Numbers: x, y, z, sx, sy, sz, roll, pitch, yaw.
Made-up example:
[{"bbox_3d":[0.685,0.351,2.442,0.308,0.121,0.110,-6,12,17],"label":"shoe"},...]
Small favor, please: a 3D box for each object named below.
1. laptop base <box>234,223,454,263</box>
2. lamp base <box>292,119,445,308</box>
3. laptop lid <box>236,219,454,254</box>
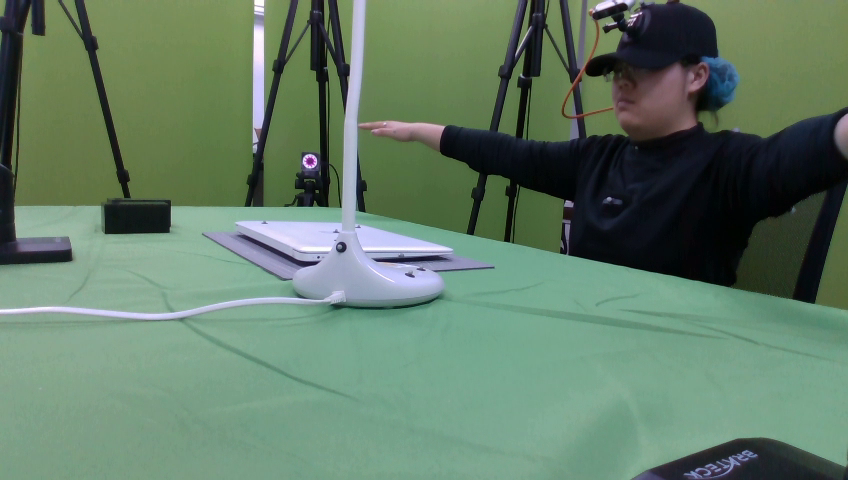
[{"bbox_3d":[-0.143,0.004,0.957,0.237,0.023,0.352,2,7,-32],"label":"laptop base"},{"bbox_3d":[-0.056,-0.030,0.616,0.160,0.180,0.179,3,10,8],"label":"lamp base"},{"bbox_3d":[-0.140,-0.009,0.957,0.243,0.013,0.355,1,7,-30],"label":"laptop lid"}]
